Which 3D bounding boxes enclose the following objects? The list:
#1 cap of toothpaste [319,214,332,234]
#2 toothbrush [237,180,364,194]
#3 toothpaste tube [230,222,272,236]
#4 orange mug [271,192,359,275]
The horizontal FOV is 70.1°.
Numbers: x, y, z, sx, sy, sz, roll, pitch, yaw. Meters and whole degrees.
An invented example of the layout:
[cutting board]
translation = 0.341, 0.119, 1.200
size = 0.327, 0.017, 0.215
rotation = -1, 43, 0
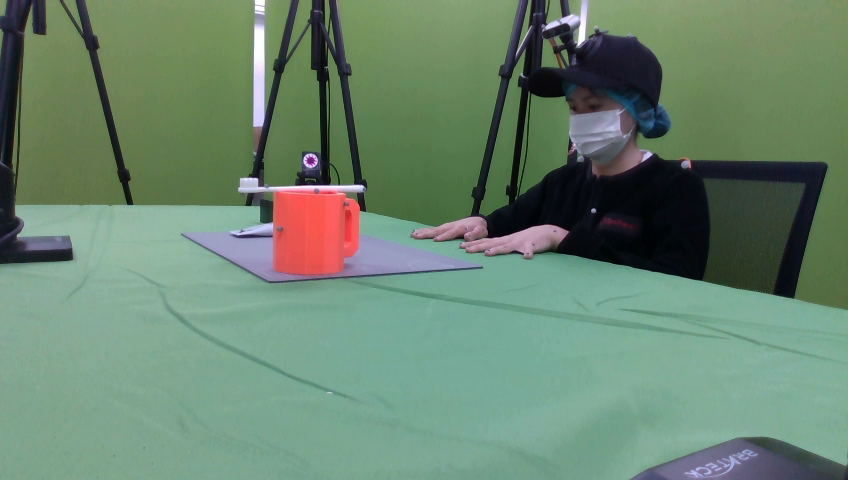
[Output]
[cap of toothpaste]
translation = -0.180, -0.029, 1.097
size = 0.011, 0.037, 0.037
rotation = -3, 9, -40
[toothbrush]
translation = -0.144, -0.064, 0.737
size = 0.014, 0.016, 0.183
rotation = 4, 6, 43
[toothpaste tube]
translation = -0.250, -0.021, 1.056
size = 0.166, 0.034, 0.055
rotation = -6, 5, -32
[orange mug]
translation = -0.131, -0.013, 0.754
size = 0.083, 0.101, 0.127
rotation = 8, 13, 38
